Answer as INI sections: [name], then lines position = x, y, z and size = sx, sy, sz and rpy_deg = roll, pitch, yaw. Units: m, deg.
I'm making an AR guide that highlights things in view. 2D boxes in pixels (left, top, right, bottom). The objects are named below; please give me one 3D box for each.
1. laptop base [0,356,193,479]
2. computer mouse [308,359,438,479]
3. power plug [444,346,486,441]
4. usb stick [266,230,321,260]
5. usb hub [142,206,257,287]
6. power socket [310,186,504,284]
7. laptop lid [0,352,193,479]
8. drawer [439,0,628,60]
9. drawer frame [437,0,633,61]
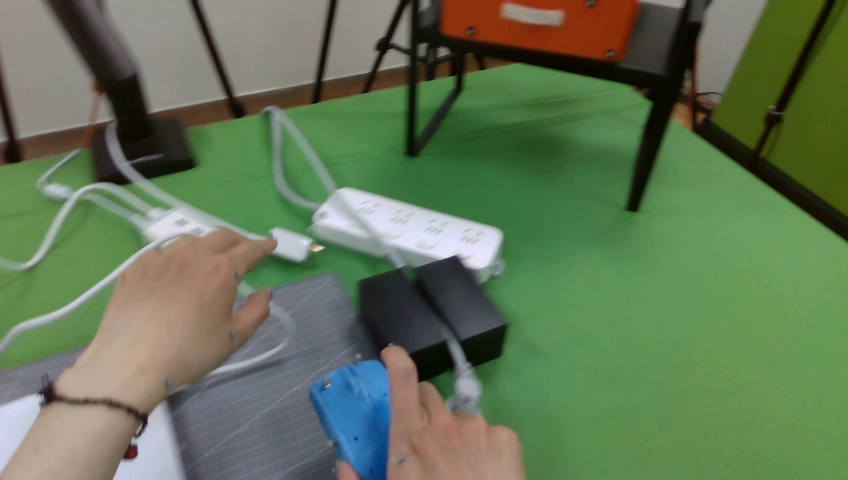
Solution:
[laptop base]
position = -0.341, 0.230, 0.416
size = 0.355, 0.023, 0.233
rpy_deg = -19, 50, -22
[computer mouse]
position = -0.040, 0.135, 0.450
size = 0.063, 0.041, 0.116
rpy_deg = -17, 45, -23
[power plug]
position = 0.037, 0.135, 0.524
size = 0.035, 0.053, 0.072
rpy_deg = 18, 33, -2
[usb stick]
position = -0.141, 0.007, 0.665
size = 0.059, 0.021, 0.027
rpy_deg = 13, 86, -12
[usb hub]
position = -0.246, 0.005, 0.662
size = 0.124, 0.025, 0.049
rpy_deg = 25, 47, 23
[power socket]
position = -0.018, -0.009, 0.685
size = 0.226, 0.033, 0.072
rpy_deg = 16, 43, 14
[laptop lid]
position = -0.339, 0.223, 0.406
size = 0.357, 0.013, 0.239
rpy_deg = -18, 49, -21
[drawer]
position = 0.137, -0.299, 0.709
size = 0.194, 0.074, 0.210
rpy_deg = 12, 42, 10
[drawer frame]
position = 0.137, -0.302, 0.710
size = 0.201, 0.083, 0.212
rpy_deg = 11, 43, 9
